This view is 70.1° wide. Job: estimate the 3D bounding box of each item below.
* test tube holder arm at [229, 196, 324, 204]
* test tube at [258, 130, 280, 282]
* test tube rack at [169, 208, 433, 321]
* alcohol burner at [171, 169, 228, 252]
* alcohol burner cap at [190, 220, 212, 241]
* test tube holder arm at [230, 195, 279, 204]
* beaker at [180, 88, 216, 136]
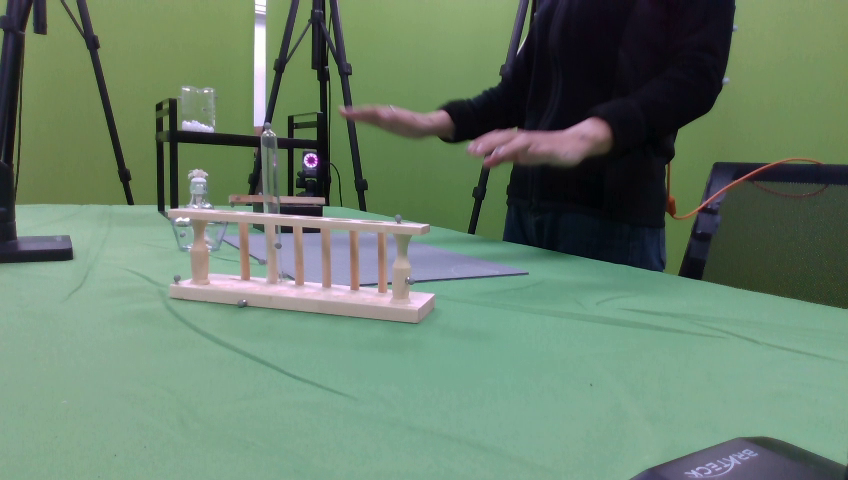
[{"bbox_3d":[-0.275,-0.076,1.143,0.179,0.015,0.013,-1,1,-32],"label":"test tube holder arm"},{"bbox_3d":[-0.152,-0.032,0.596,0.017,0.150,0.017,0,9,0],"label":"test tube"},{"bbox_3d":[-0.115,0.018,0.574,0.242,0.085,0.067,4,8,14],"label":"test tube rack"},{"bbox_3d":[-0.325,-0.043,0.875,0.078,0.119,0.078,1,7,0],"label":"alcohol burner"},{"bbox_3d":[-0.365,-0.023,0.988,0.034,0.048,0.034,2,7,0],"label":"alcohol burner cap"},{"bbox_3d":[-0.311,-0.075,1.115,0.088,0.015,0.010,-1,1,-31],"label":"test tube holder arm"},{"bbox_3d":[-0.498,-0.283,1.339,0.074,0.100,0.083,-2,9,-28],"label":"beaker"}]
